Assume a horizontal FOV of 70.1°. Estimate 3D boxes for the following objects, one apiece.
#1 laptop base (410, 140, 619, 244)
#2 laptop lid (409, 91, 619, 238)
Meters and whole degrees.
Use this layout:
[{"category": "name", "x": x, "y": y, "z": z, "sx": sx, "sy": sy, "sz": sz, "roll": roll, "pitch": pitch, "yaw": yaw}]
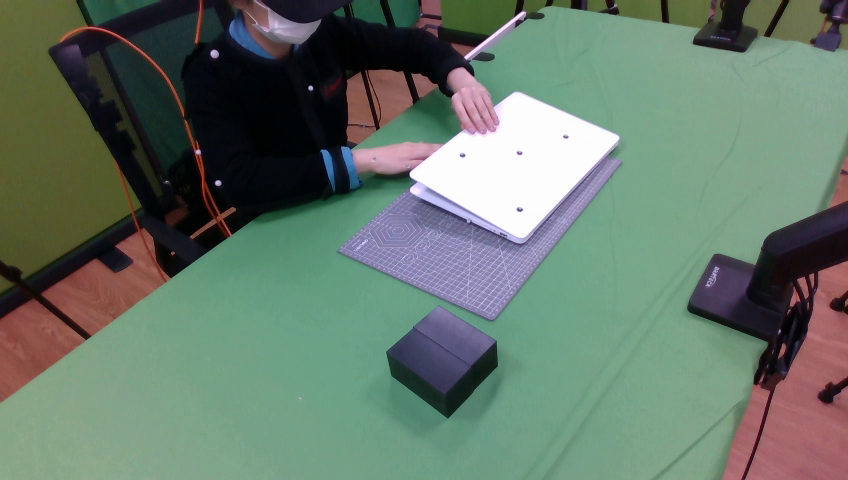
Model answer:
[{"category": "laptop base", "x": 0.171, "y": -0.131, "z": 1.091, "sx": 0.233, "sy": 0.023, "sz": 0.355, "roll": 24, "pitch": 49, "yaw": 30}, {"category": "laptop lid", "x": 0.169, "y": -0.152, "z": 1.072, "sx": 0.240, "sy": 0.013, "sz": 0.358, "roll": 33, "pitch": 52, "yaw": 24}]
